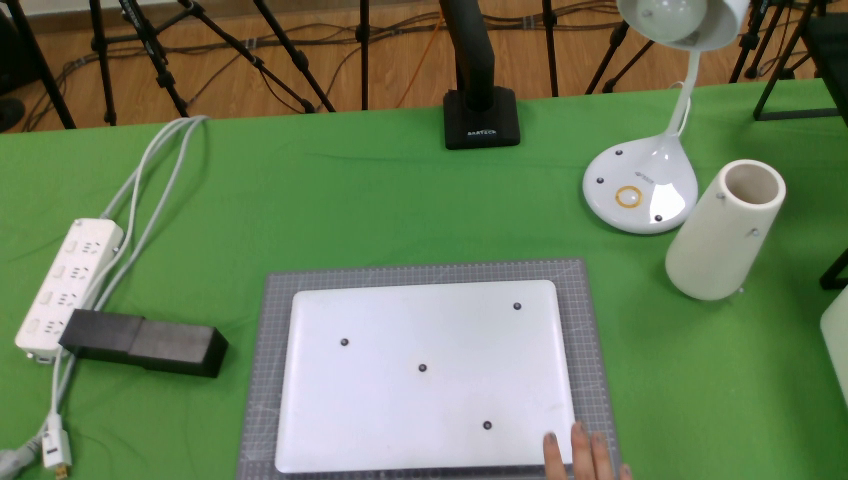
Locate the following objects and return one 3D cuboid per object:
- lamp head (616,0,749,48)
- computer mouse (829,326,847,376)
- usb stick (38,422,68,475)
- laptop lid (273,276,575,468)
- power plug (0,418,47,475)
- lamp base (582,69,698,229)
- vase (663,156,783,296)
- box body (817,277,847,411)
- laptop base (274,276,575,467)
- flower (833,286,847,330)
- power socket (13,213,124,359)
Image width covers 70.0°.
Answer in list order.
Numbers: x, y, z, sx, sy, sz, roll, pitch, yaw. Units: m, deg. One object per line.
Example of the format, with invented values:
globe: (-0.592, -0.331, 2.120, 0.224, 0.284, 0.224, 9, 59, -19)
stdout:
lamp head: (0.249, -0.252, 0.548, 0.112, 0.113, 0.122, 24, 81, 19)
computer mouse: (0.529, 0.148, 0.705, 0.063, 0.041, 0.116, -9, 50, 5)
usb stick: (-0.449, 0.254, 0.735, 0.021, 0.027, 0.058, -18, 66, -15)
laptop lid: (-0.004, 0.156, 0.751, 0.356, 0.013, 0.239, -2, 60, 4)
power plug: (-0.501, 0.257, 0.745, 0.052, 0.035, 0.072, -12, 17, 23)
lamp base: (0.312, -0.133, 0.823, 0.159, 0.182, 0.178, 27, 62, 20)
vase: (0.356, -0.013, 0.732, 0.098, 0.202, 0.097, -3, 57, 5)
box body: (0.599, 0.188, 0.608, 0.254, 0.162, 0.360, -2, 58, 4)
laptop base: (-0.003, 0.160, 0.762, 0.354, 0.023, 0.233, -3, 62, 3)
flower: (0.525, 0.219, 0.645, 0.044, 0.038, 0.358, 13, 58, -40)
power socket: (-0.499, 0.057, 0.860, 0.072, 0.033, 0.225, 4, 58, 7)
